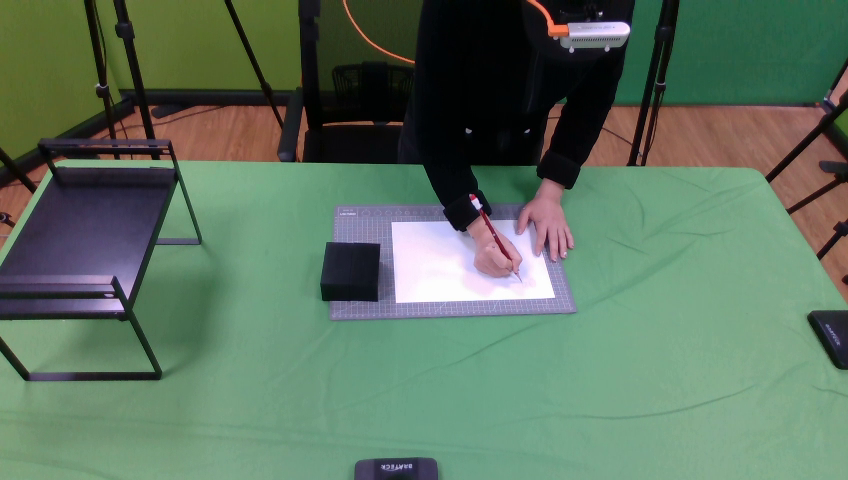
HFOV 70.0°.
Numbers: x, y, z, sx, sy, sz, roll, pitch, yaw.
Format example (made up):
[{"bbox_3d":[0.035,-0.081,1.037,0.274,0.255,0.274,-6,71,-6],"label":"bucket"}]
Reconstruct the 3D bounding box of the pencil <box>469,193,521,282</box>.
[{"bbox_3d":[0.134,-0.003,1.123,0.012,0.194,0.012,-29,13,7],"label":"pencil"}]
